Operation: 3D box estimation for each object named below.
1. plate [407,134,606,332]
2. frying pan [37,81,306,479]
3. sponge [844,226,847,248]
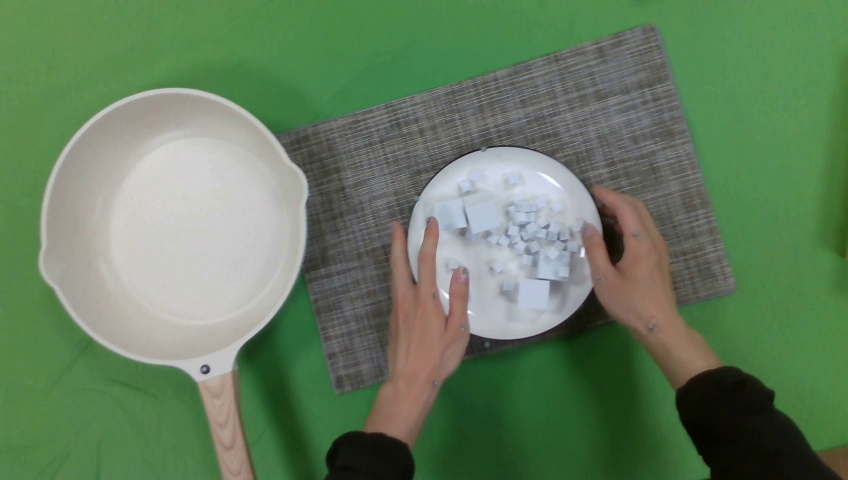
[{"bbox_3d":[0.087,-0.007,0.649,0.207,0.039,0.207,0,88,5],"label":"plate"},{"bbox_3d":[-0.236,0.076,0.646,0.307,0.103,0.485,-17,79,6],"label":"frying pan"},{"bbox_3d":[0.512,-0.083,0.605,0.118,0.061,0.206,8,90,6],"label":"sponge"}]
